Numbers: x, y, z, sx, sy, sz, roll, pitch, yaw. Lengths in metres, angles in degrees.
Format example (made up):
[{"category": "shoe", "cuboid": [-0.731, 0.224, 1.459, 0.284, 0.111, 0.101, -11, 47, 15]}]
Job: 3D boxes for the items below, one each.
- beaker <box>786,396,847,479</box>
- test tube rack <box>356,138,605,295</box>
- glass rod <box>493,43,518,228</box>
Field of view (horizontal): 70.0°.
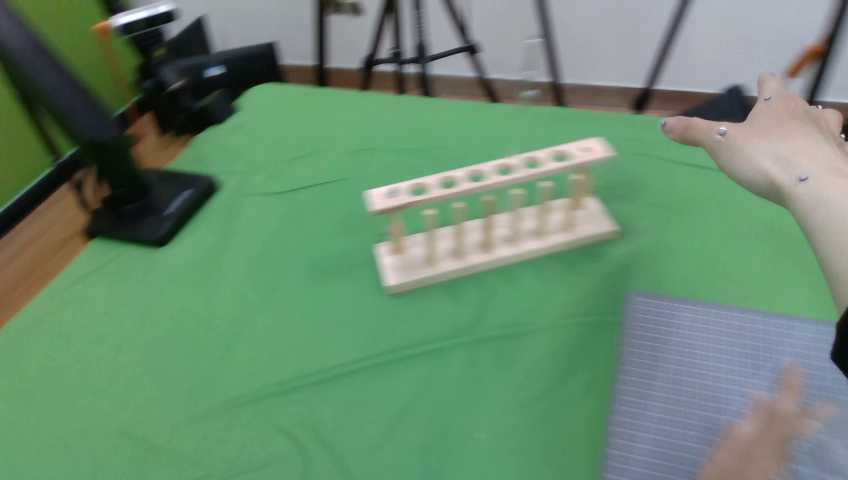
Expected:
[{"category": "beaker", "cuboid": [0.273, 0.152, 0.379, 0.083, 0.101, 0.073, 16, 47, 23]}, {"category": "test tube rack", "cuboid": [0.061, -0.025, 0.615, 0.243, 0.086, 0.066, -14, 43, -8]}, {"category": "glass rod", "cuboid": [0.078, -0.091, 0.587, 0.008, 0.201, 0.008, 1, 38, 0]}]
